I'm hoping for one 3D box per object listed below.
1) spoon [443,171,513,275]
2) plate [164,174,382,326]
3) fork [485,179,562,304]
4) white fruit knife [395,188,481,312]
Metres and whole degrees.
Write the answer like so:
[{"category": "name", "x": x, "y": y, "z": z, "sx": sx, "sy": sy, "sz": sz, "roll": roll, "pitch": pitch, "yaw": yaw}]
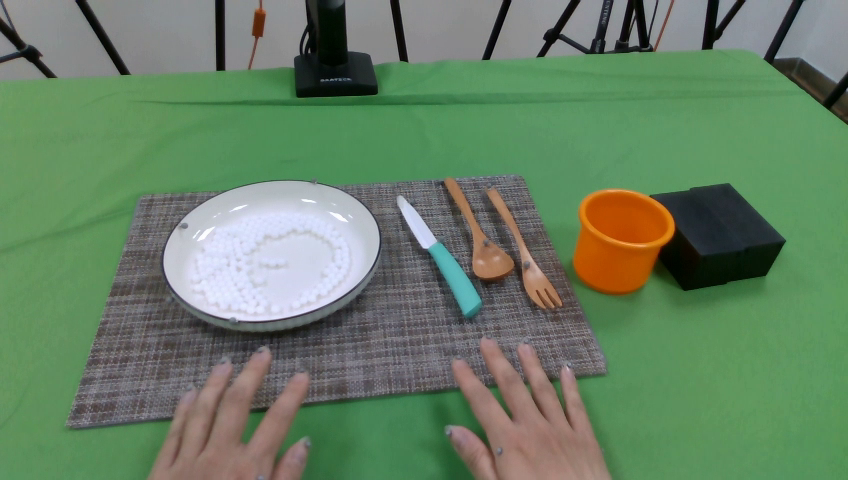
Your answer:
[{"category": "spoon", "x": 0.052, "y": -0.026, "z": 0.666, "sx": 0.041, "sy": 0.022, "sz": 0.191, "roll": -19, "pitch": 45, "yaw": -2}, {"category": "plate", "x": -0.145, "y": 0.009, "z": 0.606, "sx": 0.209, "sy": 0.038, "sz": 0.207, "roll": 2, "pitch": 42, "yaw": -1}, {"category": "fork", "x": 0.100, "y": -0.005, "z": 0.649, "sx": 0.028, "sy": 0.019, "sz": 0.205, "roll": -13, "pitch": 46, "yaw": -6}, {"category": "white fruit knife", "x": 0.010, "y": 0.001, "z": 0.638, "sx": 0.027, "sy": 0.016, "sz": 0.205, "roll": -4, "pitch": 40, "yaw": -27}]
